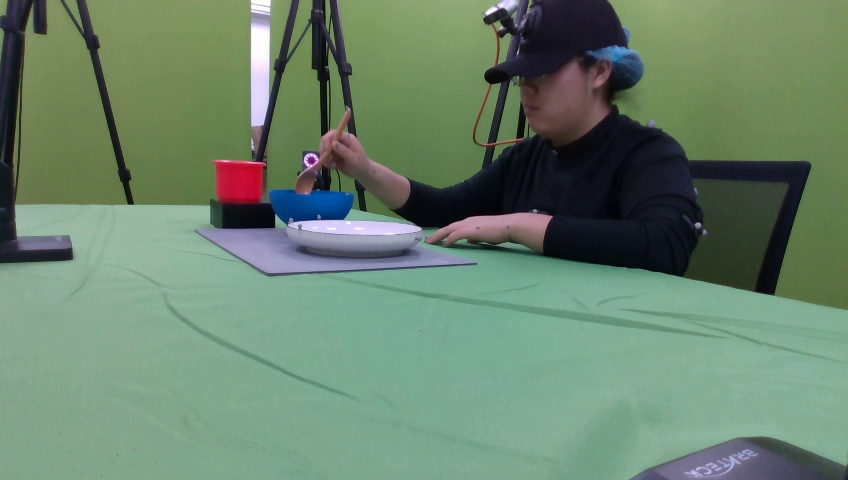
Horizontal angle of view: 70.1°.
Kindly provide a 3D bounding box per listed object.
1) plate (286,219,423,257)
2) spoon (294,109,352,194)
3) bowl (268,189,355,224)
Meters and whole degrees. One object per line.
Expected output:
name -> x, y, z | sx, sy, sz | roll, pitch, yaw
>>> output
plate -> -0.105, -0.004, 0.922 | 0.208, 0.039, 0.207 | 3, 7, 0
spoon -> -0.184, -0.160, 1.124 | 0.021, 0.193, 0.042 | 29, -7, 40
bowl -> -0.201, -0.049, 1.078 | 0.151, 0.077, 0.151 | 3, 7, 0
